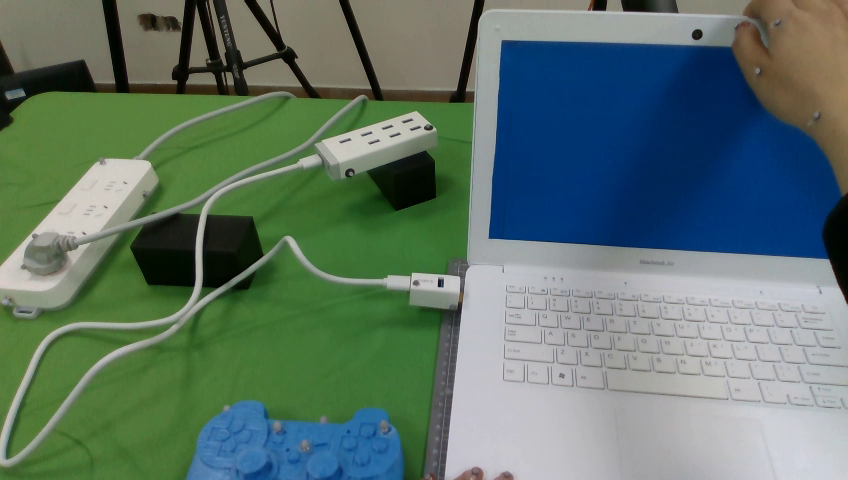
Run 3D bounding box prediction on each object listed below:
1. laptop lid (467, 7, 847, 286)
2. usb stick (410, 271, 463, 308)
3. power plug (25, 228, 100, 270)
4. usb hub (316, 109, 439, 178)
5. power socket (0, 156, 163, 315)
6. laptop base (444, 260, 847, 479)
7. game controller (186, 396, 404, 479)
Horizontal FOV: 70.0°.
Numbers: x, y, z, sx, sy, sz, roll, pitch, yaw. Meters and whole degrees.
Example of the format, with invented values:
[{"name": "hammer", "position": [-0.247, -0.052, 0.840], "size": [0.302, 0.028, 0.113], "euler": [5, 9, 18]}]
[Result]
[{"name": "laptop lid", "position": [0.217, -0.072, 0.523], "size": [0.356, 0.243, 0.013], "euler": [2, 22, 6]}, {"name": "usb stick", "position": [0.017, 0.045, 0.542], "size": [0.059, 0.027, 0.021], "euler": [7, 43, -2]}, {"name": "power plug", "position": [-0.334, 0.017, 0.561], "size": [0.072, 0.053, 0.035], "euler": [14, 44, 13]}, {"name": "usb hub", "position": [-0.049, -0.105, 0.653], "size": [0.125, 0.025, 0.049], "euler": [-22, 47, -20]}, {"name": "power socket", "position": [-0.352, -0.017, 0.634], "size": [0.072, 0.033, 0.225], "euler": [6, 43, 7]}, {"name": "laptop base", "position": [0.200, 0.116, 0.480], "size": [0.354, 0.023, 0.233], "euler": [4, 46, 6]}, {"name": "game controller", "position": [-0.088, 0.157, 0.425], "size": [0.155, 0.052, 0.096], "euler": [3, 38, 5]}]
